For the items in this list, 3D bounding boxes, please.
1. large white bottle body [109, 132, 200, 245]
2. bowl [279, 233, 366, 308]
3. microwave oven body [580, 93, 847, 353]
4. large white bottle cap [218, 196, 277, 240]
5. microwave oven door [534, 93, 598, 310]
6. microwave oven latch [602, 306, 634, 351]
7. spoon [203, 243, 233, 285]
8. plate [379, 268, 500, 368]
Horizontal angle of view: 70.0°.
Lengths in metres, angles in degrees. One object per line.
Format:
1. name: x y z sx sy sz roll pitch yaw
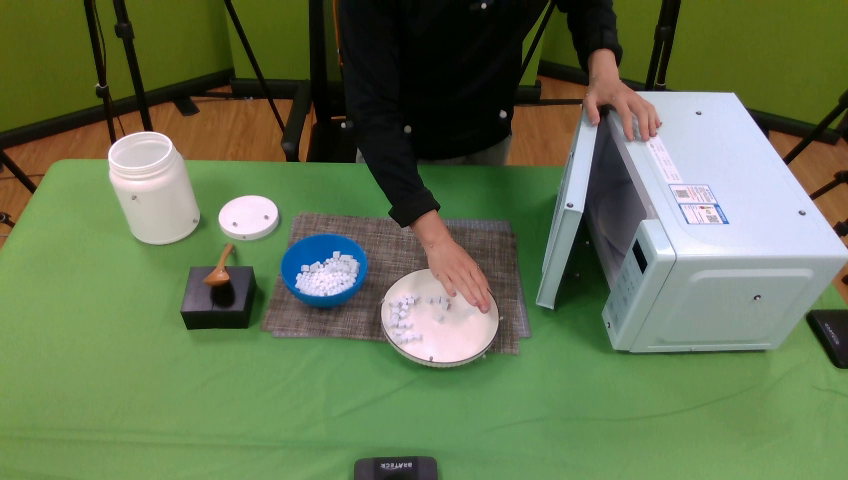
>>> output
1. large white bottle body: -0.506 -0.097 1.141 0.131 0.185 0.130 2 46 -2
2. bowl: -0.177 0.068 1.077 0.151 0.077 0.150 3 46 -2
3. microwave oven body: 0.475 -0.041 1.109 0.326 0.261 0.438 -1 45 -4
4. large white bottle cap: -0.355 -0.045 1.220 0.115 0.018 0.114 2 45 -2
5. microwave oven door: 0.270 -0.081 1.126 0.039 0.245 0.354 14 46 9
6. microwave oven latch: 0.332 0.153 1.044 0.030 0.029 0.078 0 45 -3
7. spoon: -0.360 0.039 1.087 0.041 0.022 0.192 -5 24 -7
8. plate: 0.025 0.137 1.055 0.209 0.038 0.208 2 46 -2
